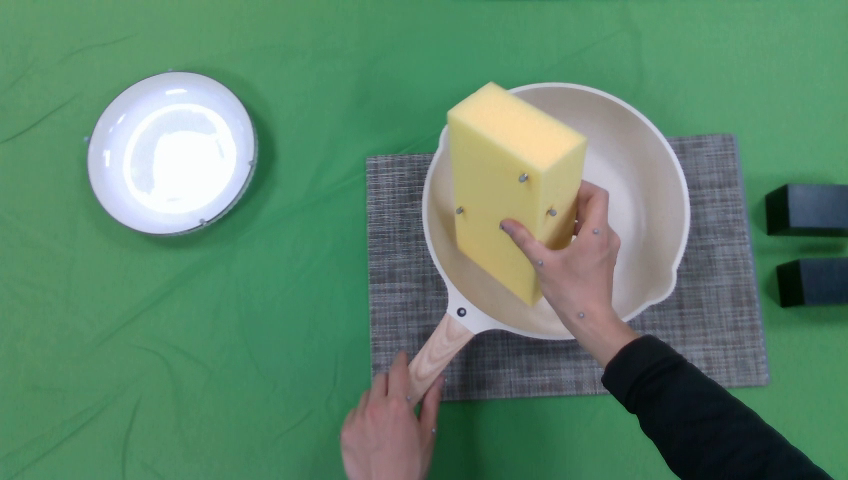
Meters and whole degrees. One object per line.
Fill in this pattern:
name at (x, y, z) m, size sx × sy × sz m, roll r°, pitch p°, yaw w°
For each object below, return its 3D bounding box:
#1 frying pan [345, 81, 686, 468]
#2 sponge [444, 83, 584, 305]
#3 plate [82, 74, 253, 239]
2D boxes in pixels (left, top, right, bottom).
frying pan at (0.076, 0.043, 0.669) m, size 0.306 × 0.103 × 0.487 m, roll 38°, pitch 75°, yaw 9°
sponge at (0.088, -0.040, 0.619) m, size 0.061 × 0.209 × 0.117 m, roll -39°, pitch 57°, yaw -22°
plate at (-0.310, -0.100, 0.748) m, size 0.207 × 0.039 × 0.207 m, roll 0°, pitch 80°, yaw 2°
